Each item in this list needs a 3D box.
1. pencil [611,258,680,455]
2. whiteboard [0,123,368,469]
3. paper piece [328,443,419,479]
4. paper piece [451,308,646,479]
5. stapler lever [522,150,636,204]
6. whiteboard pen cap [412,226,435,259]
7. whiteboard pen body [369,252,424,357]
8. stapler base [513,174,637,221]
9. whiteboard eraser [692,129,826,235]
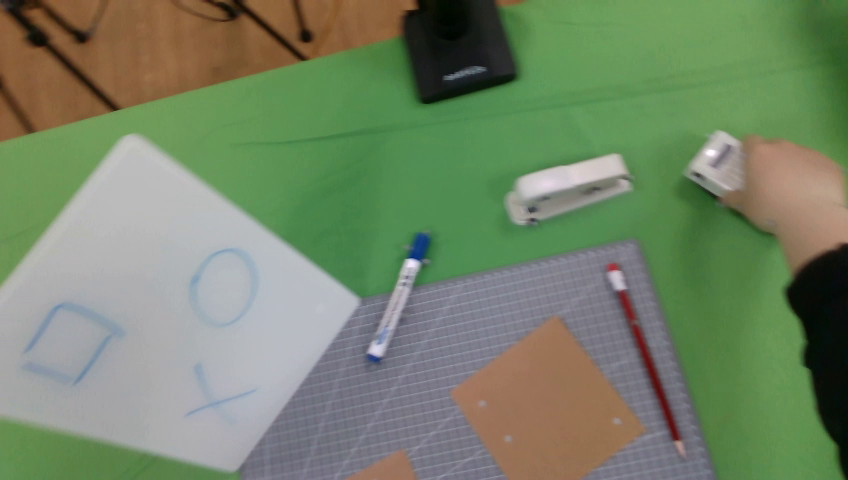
[{"bbox_3d":[0.216,0.109,0.588,0.012,0.012,0.193,-15,75,4],"label":"pencil"},{"bbox_3d":[-0.233,0.048,0.550,0.142,0.309,0.217,32,80,37],"label":"whiteboard"},{"bbox_3d":[-0.052,0.285,0.576,0.135,0.004,0.135,-26,73,-1],"label":"paper piece"},{"bbox_3d":[0.118,0.160,0.588,0.136,0.009,0.137,-35,74,2],"label":"paper piece"},{"bbox_3d":[0.158,-0.066,0.618,0.118,0.040,0.026,-18,75,2],"label":"stapler lever"},{"bbox_3d":[0.000,0.003,0.646,0.018,0.018,0.033,18,77,13],"label":"whiteboard pen cap"},{"bbox_3d":[-0.023,0.056,0.635,0.017,0.017,0.140,20,77,14],"label":"whiteboard pen body"},{"bbox_3d":[0.160,-0.058,0.641,0.130,0.024,0.041,-18,75,1],"label":"stapler base"},{"bbox_3d":[0.332,-0.058,0.607,0.112,0.042,0.055,40,86,17],"label":"whiteboard eraser"}]
